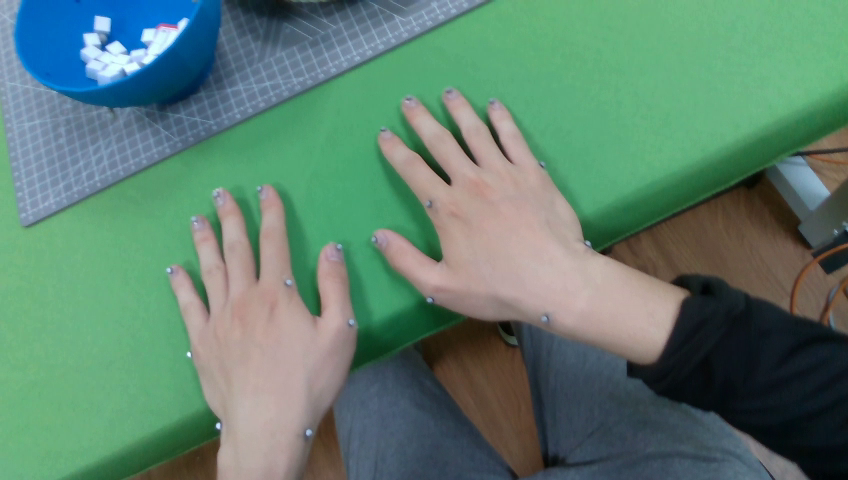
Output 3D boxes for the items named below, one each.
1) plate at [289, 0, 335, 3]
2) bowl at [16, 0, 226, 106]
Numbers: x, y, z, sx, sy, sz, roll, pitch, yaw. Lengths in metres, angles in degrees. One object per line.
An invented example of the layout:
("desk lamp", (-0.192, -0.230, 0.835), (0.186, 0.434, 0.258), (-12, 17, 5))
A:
("plate", (-0.070, -0.274, 0.486), (0.209, 0.038, 0.208), (-3, 72, 11))
("bowl", (-0.208, -0.157, 0.454), (0.151, 0.077, 0.150), (-4, 71, 11))
